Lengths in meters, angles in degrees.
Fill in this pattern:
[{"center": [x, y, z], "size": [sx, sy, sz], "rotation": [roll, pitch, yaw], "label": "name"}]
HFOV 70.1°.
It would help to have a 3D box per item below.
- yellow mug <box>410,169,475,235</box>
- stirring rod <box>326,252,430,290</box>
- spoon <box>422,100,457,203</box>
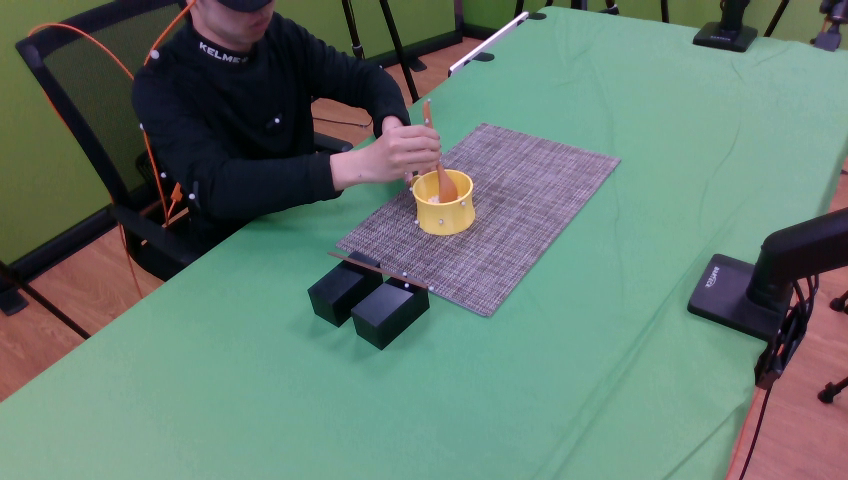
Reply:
[{"center": [0.022, -0.070, 1.007], "size": [0.129, 0.064, 0.100], "rotation": [29, 52, 36], "label": "yellow mug"}, {"center": [-0.068, 0.043, 0.859], "size": [0.175, 0.006, 0.014], "rotation": [17, 11, 26], "label": "stirring rod"}, {"center": [0.021, -0.132, 0.972], "size": [0.042, 0.194, 0.021], "rotation": [-33, 32, -24], "label": "spoon"}]
